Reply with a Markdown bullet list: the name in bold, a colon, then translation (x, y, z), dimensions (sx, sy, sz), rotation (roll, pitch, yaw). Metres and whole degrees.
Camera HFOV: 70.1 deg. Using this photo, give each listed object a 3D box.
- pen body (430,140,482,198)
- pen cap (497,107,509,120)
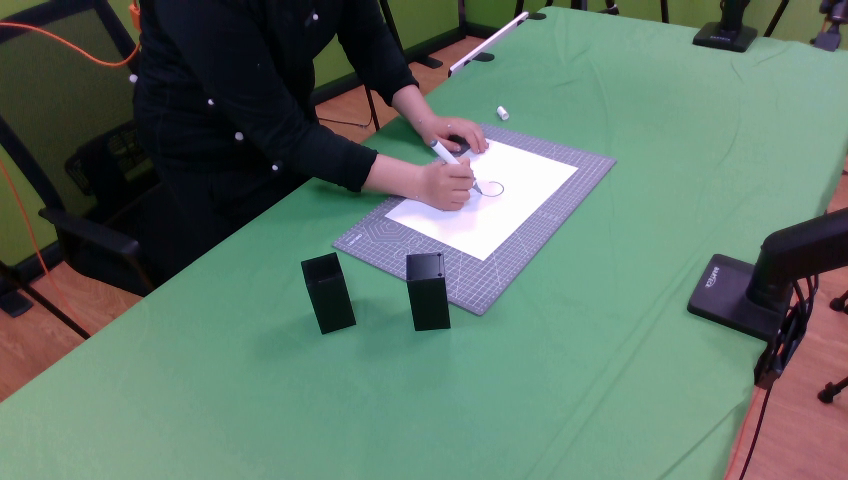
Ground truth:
- **pen body**: translation (0.057, -0.115, 1.019), dimensions (0.017, 0.145, 0.017), rotation (-28, 38, 26)
- **pen cap**: translation (0.164, -0.264, 1.262), dimensions (0.017, 0.017, 0.038), rotation (-14, 41, -7)
